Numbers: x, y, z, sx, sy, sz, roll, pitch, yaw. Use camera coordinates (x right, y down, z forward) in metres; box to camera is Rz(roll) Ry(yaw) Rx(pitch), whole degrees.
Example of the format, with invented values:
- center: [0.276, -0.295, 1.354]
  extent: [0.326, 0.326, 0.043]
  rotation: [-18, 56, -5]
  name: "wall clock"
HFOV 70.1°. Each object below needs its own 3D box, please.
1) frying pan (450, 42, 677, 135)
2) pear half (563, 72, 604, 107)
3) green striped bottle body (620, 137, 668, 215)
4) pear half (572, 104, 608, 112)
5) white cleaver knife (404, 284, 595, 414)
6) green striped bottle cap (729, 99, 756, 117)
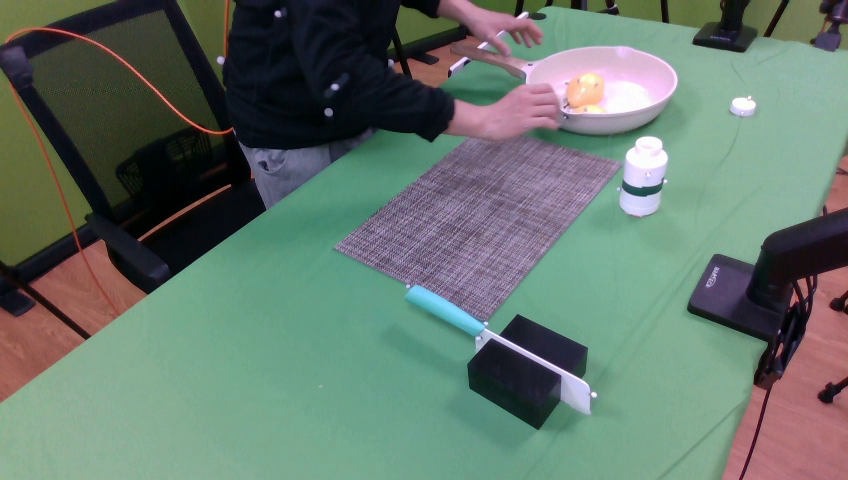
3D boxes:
- center: [0.268, -0.344, 1.266]
  extent: [0.485, 0.103, 0.307]
  rotation: [25, 49, 21]
  name: "frying pan"
- center: [0.325, -0.311, 1.256]
  extent: [0.075, 0.056, 0.110]
  rotation: [25, 53, 39]
  name: "pear half"
- center: [0.350, -0.103, 0.963]
  extent: [0.063, 0.120, 0.063]
  rotation: [-4, 41, 4]
  name: "green striped bottle body"
- center: [0.328, -0.253, 1.204]
  extent: [0.088, 0.031, 0.070]
  rotation: [9, 39, 13]
  name: "pear half"
- center: [0.083, 0.135, 0.764]
  extent: [0.284, 0.066, 0.021]
  rotation: [28, 46, 31]
  name: "white cleaver knife"
- center: [0.623, -0.259, 1.182]
  extent: [0.044, 0.020, 0.044]
  rotation: [-3, 40, 3]
  name: "green striped bottle cap"
